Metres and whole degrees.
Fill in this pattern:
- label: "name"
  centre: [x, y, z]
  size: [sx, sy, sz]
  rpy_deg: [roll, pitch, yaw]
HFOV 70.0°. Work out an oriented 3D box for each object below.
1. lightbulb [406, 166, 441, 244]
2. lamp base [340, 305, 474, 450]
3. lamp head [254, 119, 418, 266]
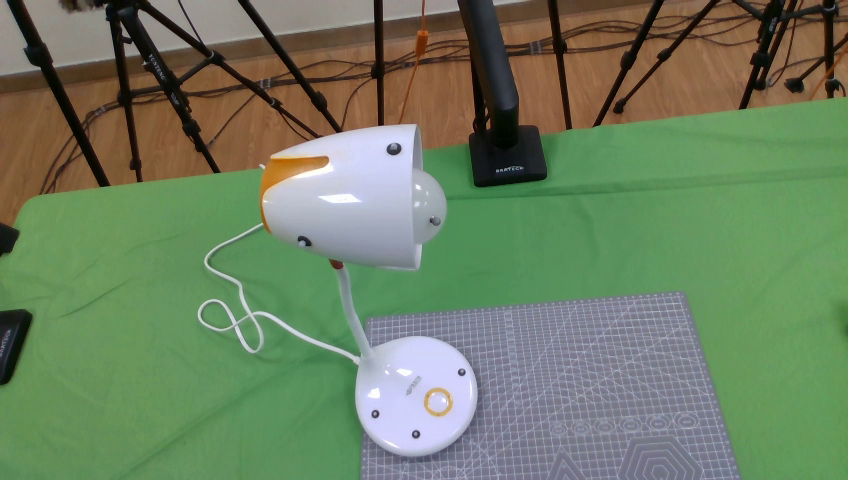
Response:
- label: "lightbulb"
  centre: [-0.041, -0.024, 0.457]
  size: [0.107, 0.060, 0.059]
  rpy_deg: [-5, 56, 7]
- label: "lamp base"
  centre: [-0.035, 0.147, 0.733]
  size: [0.178, 0.182, 0.160]
  rpy_deg: [16, 60, 21]
- label: "lamp head"
  centre: [-0.064, -0.033, 0.464]
  size: [0.123, 0.113, 0.111]
  rpy_deg: [-3, 57, 8]
